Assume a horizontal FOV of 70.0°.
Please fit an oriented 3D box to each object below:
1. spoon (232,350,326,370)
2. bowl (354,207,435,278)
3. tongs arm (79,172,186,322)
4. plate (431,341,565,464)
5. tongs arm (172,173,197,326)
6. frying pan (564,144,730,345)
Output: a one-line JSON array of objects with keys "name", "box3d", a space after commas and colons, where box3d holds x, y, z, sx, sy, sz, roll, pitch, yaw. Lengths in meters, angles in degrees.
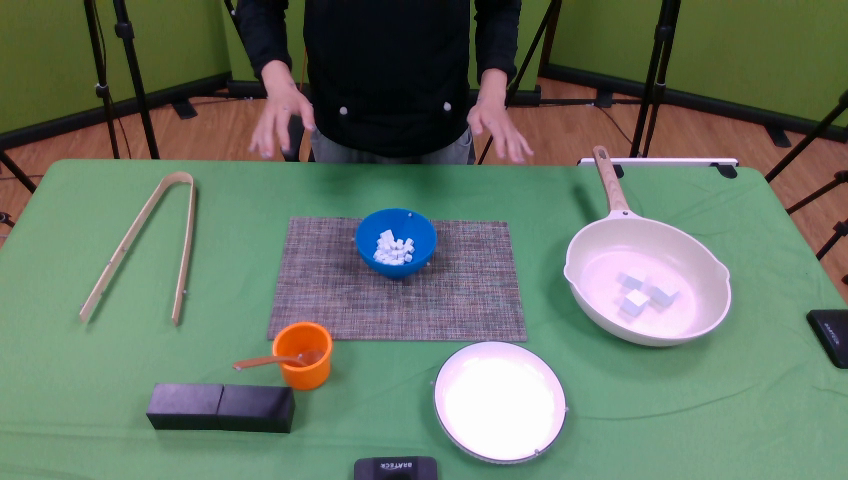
[{"name": "spoon", "box3d": [-0.216, 0.182, 0.919, 0.041, 0.194, 0.021, 43, 102, 27]}, {"name": "bowl", "box3d": [-0.055, 0.018, 1.132, 0.151, 0.077, 0.150, 2, 46, -2]}, {"name": "tongs arm", "box3d": [-0.540, -0.002, 1.147, 0.051, 0.026, 0.382, 5, 45, -1]}, {"name": "plate", "box3d": [0.114, 0.255, 0.951, 0.208, 0.039, 0.206, 3, 46, -2]}, {"name": "tongs arm", "box3d": [-0.459, 0.003, 1.155, 0.028, 0.028, 0.385, -7, 47, -8]}, {"name": "frying pan", "box3d": [0.396, -0.008, 1.179, 0.307, 0.103, 0.484, 0, 55, -5]}]
